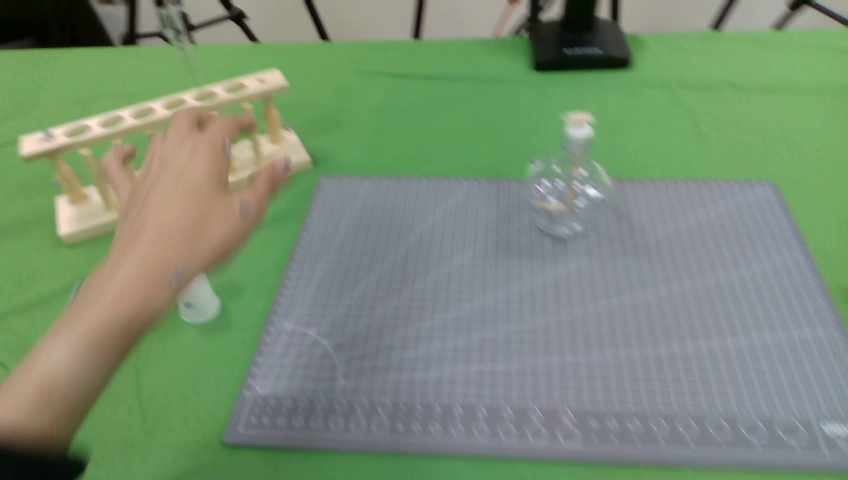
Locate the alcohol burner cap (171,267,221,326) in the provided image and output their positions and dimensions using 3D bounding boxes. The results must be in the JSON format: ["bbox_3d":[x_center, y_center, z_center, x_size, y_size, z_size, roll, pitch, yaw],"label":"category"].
[{"bbox_3d":[-0.188,0.043,0.493,0.034,0.048,0.033,-2,44,2],"label":"alcohol burner cap"}]

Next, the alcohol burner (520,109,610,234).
[{"bbox_3d":[0.123,-0.062,0.522,0.078,0.120,0.077,-1,46,1],"label":"alcohol burner"}]

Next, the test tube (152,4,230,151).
[{"bbox_3d":[-0.222,-0.150,0.584,0.017,0.152,0.017,-8,38,7],"label":"test tube"}]

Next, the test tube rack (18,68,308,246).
[{"bbox_3d":[-0.246,-0.085,0.596,0.243,0.086,0.066,-21,47,-17],"label":"test tube rack"}]
